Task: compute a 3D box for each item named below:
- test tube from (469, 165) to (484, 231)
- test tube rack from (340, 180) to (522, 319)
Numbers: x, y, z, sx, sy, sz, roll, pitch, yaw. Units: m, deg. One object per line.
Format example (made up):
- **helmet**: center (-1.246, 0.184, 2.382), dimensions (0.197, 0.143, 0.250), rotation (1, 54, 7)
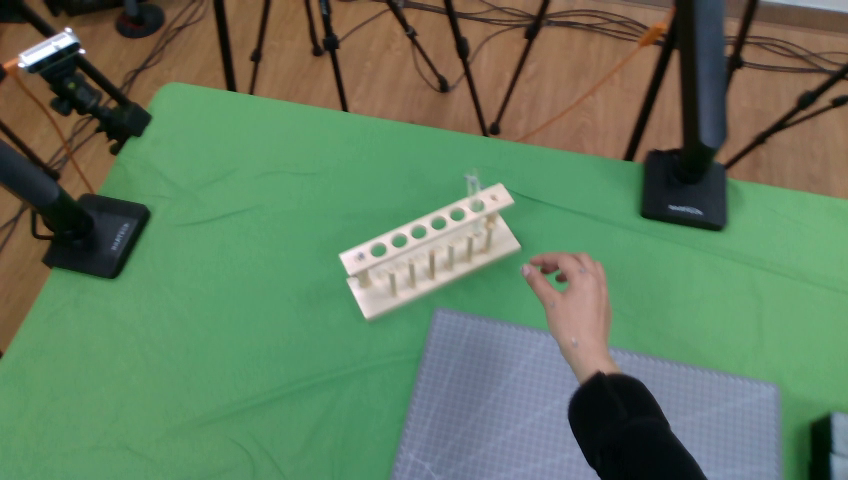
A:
- **test tube**: center (0.070, -0.051, 0.798), dimensions (0.017, 0.151, 0.017), rotation (-3, 62, 5)
- **test tube rack**: center (0.016, 0.013, 0.820), dimensions (0.242, 0.086, 0.066), rotation (-24, 63, -12)
